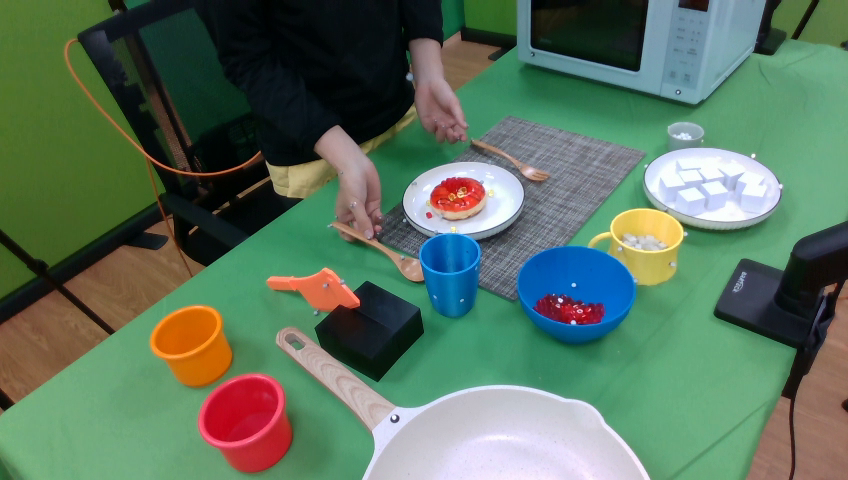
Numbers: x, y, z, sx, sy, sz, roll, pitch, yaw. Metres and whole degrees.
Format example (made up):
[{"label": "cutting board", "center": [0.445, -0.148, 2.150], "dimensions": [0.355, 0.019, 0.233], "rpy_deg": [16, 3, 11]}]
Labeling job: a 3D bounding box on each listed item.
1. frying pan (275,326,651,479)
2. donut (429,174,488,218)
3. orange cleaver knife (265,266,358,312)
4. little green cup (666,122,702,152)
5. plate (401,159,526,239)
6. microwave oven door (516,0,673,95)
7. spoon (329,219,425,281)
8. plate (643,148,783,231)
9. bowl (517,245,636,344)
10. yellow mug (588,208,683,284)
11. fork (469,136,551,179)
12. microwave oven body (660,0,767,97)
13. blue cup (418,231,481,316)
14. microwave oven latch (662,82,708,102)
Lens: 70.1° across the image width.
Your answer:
[{"label": "frying pan", "center": [0.003, 0.229, 0.641], "dimensions": [0.484, 0.103, 0.308], "rpy_deg": [34, 54, 28]}, {"label": "donut", "center": [0.058, -0.076, 1.015], "dimensions": [0.099, 0.048, 0.098], "rpy_deg": [-6, 37, 5]}, {"label": "orange cleaver knife", "center": [-0.164, 0.073, 0.864], "dimensions": [0.210, 0.077, 0.012], "rpy_deg": [-6, 31, 50]}, {"label": "little green cup", "center": [0.471, -0.184, 1.102], "dimensions": [0.061, 0.039, 0.061], "rpy_deg": [-5, 41, 5]}, {"label": "plate", "center": [0.067, -0.065, 1.019], "dimensions": [0.209, 0.038, 0.208], "rpy_deg": [-4, 40, 4]}, {"label": "microwave oven door", "center": [0.344, -0.458, 1.256], "dimensions": [0.353, 0.245, 0.039], "rpy_deg": [26, 51, 33]}, {"label": "spoon", "center": [-0.070, 0.010, 0.942], "dimensions": [0.193, 0.022, 0.041], "rpy_deg": [31, 66, 15]}, {"label": "plate", "center": [0.464, -0.080, 0.986], "dimensions": [0.207, 0.039, 0.206], "rpy_deg": [-4, 40, 4]}, {"label": "bowl", "center": [0.199, 0.084, 0.802], "dimensions": [0.151, 0.077, 0.150], "rpy_deg": [-4, 40, 4]}, {"label": "yellow mug", "center": [0.305, 0.009, 0.884], "dimensions": [0.131, 0.064, 0.099], "rpy_deg": [-4, 40, 5]}, {"label": "fork", "center": [0.154, -0.156, 1.126], "dimensions": [0.028, 0.019, 0.205], "rpy_deg": [-38, 50, -18]}, {"label": "microwave oven body", "center": [0.473, -0.516, 1.313], "dimensions": [0.438, 0.261, 0.327], "rpy_deg": [26, 51, 34]}, {"label": "blue cup", "center": [0.040, 0.053, 0.843], "dimensions": [0.092, 0.100, 0.092], "rpy_deg": [-4, 43, 4]}, {"label": "microwave oven latch", "center": [0.518, -0.298, 1.202], "dimensions": [0.078, 0.029, 0.030], "rpy_deg": [28, 53, 35]}]
